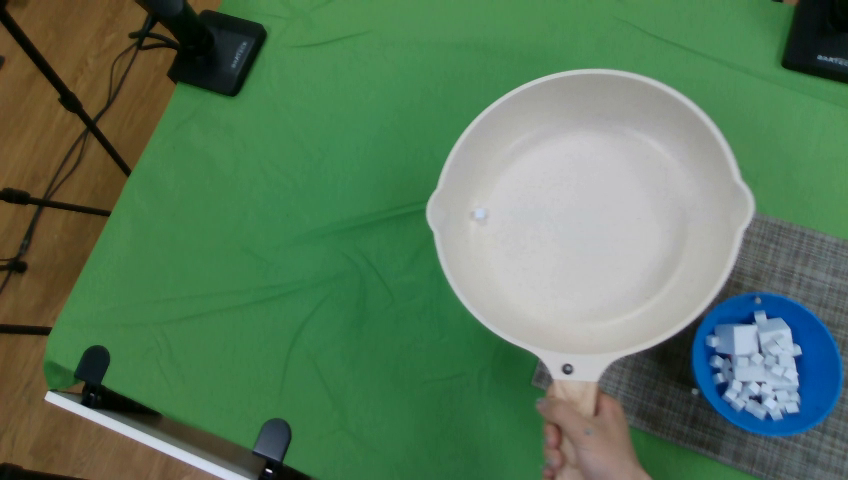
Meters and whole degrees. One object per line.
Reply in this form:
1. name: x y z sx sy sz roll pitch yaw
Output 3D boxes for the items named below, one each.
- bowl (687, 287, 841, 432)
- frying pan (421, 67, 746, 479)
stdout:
1. bowl: 0.361 0.134 0.671 0.151 0.077 0.150 -2 74 7
2. frying pan: 0.141 0.069 0.583 0.306 0.103 0.485 1 70 16
